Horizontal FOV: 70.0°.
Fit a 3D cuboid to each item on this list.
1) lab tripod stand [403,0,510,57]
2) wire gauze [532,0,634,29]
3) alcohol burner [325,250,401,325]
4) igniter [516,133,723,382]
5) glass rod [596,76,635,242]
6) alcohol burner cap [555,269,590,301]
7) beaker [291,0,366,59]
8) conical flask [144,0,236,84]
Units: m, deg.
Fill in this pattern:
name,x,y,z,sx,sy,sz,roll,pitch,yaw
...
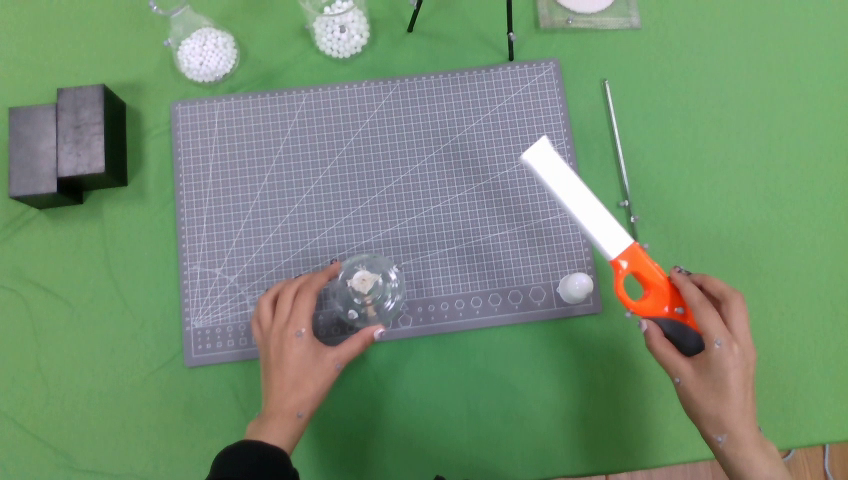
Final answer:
name,x,y,z,sx,sy,sz,roll,pitch,yaw
lab tripod stand,0.047,-0.277,0.656,0.148,0.132,0.148,0,81,0
wire gauze,0.187,-0.311,0.728,0.125,0.011,0.121,-2,81,-3
alcohol burner,-0.062,0.044,0.604,0.078,0.119,0.077,0,77,-2
igniter,0.184,0.017,0.562,0.057,0.025,0.276,-40,91,-7
glass rod,0.218,-0.094,0.689,0.008,0.008,0.199,-8,80,-3
alcohol burner cap,0.160,0.046,0.643,0.034,0.048,0.033,0,79,-1
beaker,-0.100,-0.255,0.667,0.084,0.100,0.074,-34,82,-7
conical flask,-0.255,-0.226,0.647,0.075,0.122,0.075,0,79,0
